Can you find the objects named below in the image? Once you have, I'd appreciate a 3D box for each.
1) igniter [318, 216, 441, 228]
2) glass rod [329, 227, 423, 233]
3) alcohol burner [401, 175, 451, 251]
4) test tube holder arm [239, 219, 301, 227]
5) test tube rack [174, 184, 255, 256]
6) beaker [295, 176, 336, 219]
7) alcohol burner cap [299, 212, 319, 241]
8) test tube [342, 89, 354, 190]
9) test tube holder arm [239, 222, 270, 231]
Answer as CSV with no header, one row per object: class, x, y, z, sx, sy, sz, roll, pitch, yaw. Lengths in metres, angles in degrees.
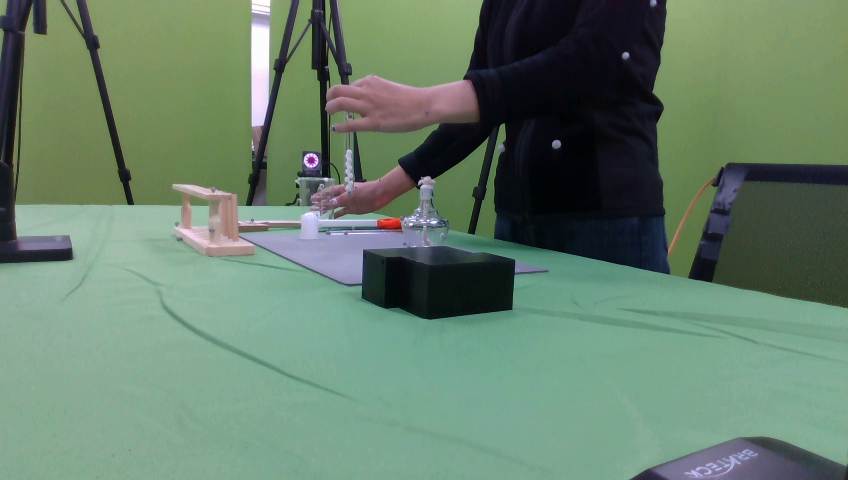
igniter,-0.090,-0.035,1.222,0.278,0.025,0.057,-2,-1,-31
glass rod,-0.087,-0.019,1.148,0.201,0.008,0.008,-2,8,-32
alcohol burner,0.004,-0.042,0.947,0.078,0.119,0.078,1,9,0
test tube holder arm,-0.296,-0.030,1.137,0.179,0.015,0.013,-6,44,-50
test tube rack,-0.327,-0.036,0.928,0.067,0.085,0.241,-2,9,-32
beaker,-0.224,-0.080,1.247,0.084,0.100,0.073,-1,8,-18
alcohol burner cap,-0.195,-0.024,1.025,0.034,0.048,0.034,3,7,0
test tube,-0.114,-0.150,0.908,0.017,0.150,0.017,0,9,0
test tube holder arm,-0.321,-0.024,1.100,0.088,0.015,0.010,-4,43,-49
